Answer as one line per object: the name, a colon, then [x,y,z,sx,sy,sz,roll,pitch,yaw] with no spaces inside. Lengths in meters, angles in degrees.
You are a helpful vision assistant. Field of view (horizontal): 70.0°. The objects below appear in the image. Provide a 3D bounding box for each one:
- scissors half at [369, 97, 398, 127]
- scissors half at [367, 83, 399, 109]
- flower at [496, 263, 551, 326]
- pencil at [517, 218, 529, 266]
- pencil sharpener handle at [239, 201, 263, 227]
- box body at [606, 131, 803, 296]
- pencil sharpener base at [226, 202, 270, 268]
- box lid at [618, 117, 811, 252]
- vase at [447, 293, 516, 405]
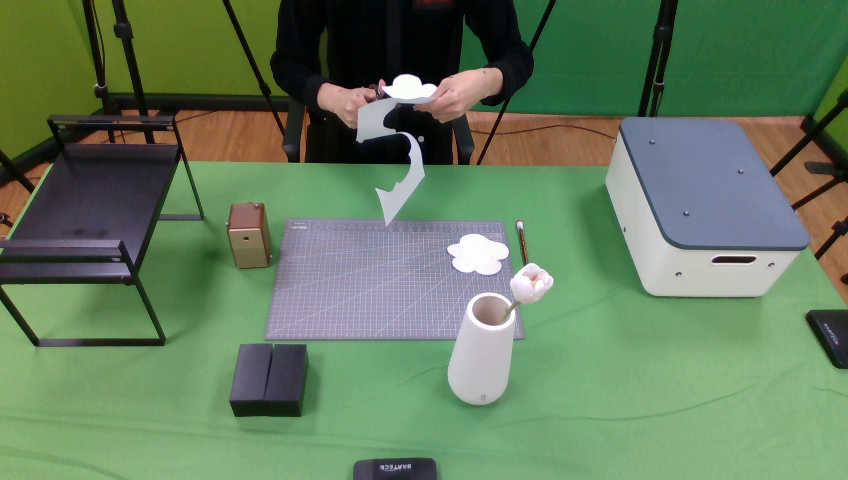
scissors half: [-0.072,-0.233,1.084,0.013,0.175,0.040,-7,90,-19]
scissors half: [-0.074,-0.254,1.080,0.013,0.040,0.174,-12,25,-18]
flower: [0.102,0.120,0.853,0.044,0.363,0.038,-2,64,-10]
pencil: [0.200,0.028,1.196,0.012,0.012,0.193,1,48,-3]
pencil sharpener handle: [-0.324,-0.056,1.150,0.036,0.068,0.030,-13,46,4]
box body: [0.530,-0.067,1.204,0.254,0.161,0.361,0,46,-4]
pencil sharpener base: [-0.323,-0.010,1.123,0.061,0.107,0.076,-3,46,-7]
box lid: [0.534,-0.117,1.149,0.263,0.015,0.369,0,47,-3]
vase: [0.091,0.169,0.921,0.098,0.201,0.097,3,47,-3]
